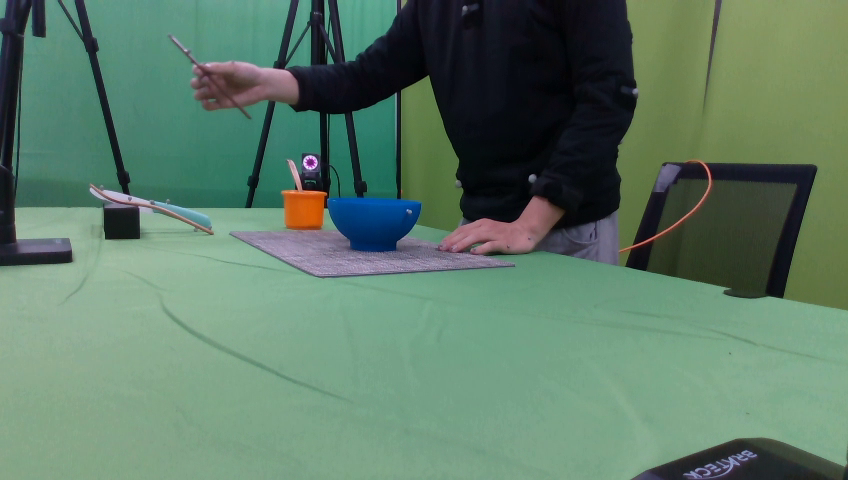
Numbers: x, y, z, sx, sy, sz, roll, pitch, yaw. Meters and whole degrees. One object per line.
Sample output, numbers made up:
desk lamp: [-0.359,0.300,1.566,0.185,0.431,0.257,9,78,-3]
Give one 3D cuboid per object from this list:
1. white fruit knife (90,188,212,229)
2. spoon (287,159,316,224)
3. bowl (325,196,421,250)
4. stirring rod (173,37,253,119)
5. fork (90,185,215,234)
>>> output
white fruit knife: [-0.478,-0.058,1.073,0.208,0.027,0.016,17,-4,-30]
spoon: [-0.261,-0.104,1.264,0.042,0.193,0.021,-1,-37,-28]
bowl: [-0.080,-0.027,0.957,0.151,0.077,0.151,2,7,0]
stirring rod: [-0.355,-0.271,1.023,0.177,0.006,0.014,47,2,-27]
fork: [-0.452,-0.049,1.018,0.208,0.018,0.028,21,-7,-33]
